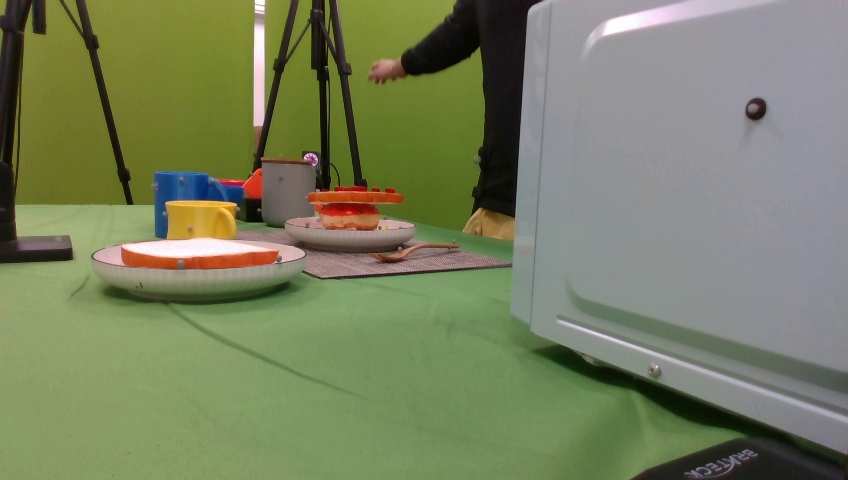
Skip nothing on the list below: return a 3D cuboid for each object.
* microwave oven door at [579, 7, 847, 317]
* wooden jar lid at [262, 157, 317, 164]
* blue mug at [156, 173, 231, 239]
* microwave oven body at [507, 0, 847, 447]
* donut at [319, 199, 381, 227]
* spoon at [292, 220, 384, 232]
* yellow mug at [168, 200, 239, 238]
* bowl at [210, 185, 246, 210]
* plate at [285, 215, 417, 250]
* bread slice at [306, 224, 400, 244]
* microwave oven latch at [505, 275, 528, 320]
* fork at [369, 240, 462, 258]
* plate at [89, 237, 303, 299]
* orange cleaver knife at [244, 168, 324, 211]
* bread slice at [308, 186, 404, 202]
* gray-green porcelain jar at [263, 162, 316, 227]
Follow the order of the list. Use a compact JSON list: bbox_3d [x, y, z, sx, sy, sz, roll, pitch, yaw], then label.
[{"bbox_3d":[0.295,-0.067,0.570,0.358,0.243,0.039,-3,9,-31],"label":"microwave oven door"},{"bbox_3d":[-0.269,-0.154,1.208,0.108,0.020,0.108,3,5,0],"label":"wooden jar lid"},{"bbox_3d":[-0.381,-0.057,1.004,0.117,0.106,0.082,0,8,-12],"label":"blue mug"},{"bbox_3d":[0.331,-0.042,0.425,0.444,0.260,0.324,-2,8,-31],"label":"microwave oven body"},{"bbox_3d":[-0.117,-0.042,0.965,0.099,0.048,0.099,-9,-7,-1],"label":"donut"},{"bbox_3d":[-0.153,-0.028,1.123,0.195,0.021,0.041,-5,-12,-40],"label":"spoon"},{"bbox_3d":[-0.320,-0.023,0.904,0.130,0.064,0.100,9,11,36],"label":"yellow mug"},{"bbox_3d":[-0.422,-0.067,1.166,0.151,0.077,0.151,2,7,0],"label":"bowl"},{"bbox_3d":[-0.116,-0.014,0.964,0.209,0.038,0.209,2,8,0],"label":"plate"},{"bbox_3d":[-0.103,-0.010,0.961,0.131,0.019,0.105,4,9,24],"label":"bread slice"},{"bbox_3d":[0.100,0.042,0.471,0.079,0.029,0.030,-1,7,-29],"label":"microwave oven latch"},{"bbox_3d":[-0.005,0.011,0.874,0.028,0.018,0.208,-1,6,37],"label":"fork"},{"bbox_3d":[-0.233,0.029,0.637,0.208,0.039,0.207,2,7,0],"label":"plate"},{"bbox_3d":[-0.300,-0.089,1.351,0.212,0.077,0.012,28,-9,-34],"label":"orange cleaver knife"},{"bbox_3d":[-0.114,-0.071,0.952,0.134,0.018,0.107,-1,1,21],"label":"bread slice"},{"bbox_3d":[-0.271,-0.092,1.217,0.106,0.126,0.106,2,7,0],"label":"gray-green porcelain jar"}]
